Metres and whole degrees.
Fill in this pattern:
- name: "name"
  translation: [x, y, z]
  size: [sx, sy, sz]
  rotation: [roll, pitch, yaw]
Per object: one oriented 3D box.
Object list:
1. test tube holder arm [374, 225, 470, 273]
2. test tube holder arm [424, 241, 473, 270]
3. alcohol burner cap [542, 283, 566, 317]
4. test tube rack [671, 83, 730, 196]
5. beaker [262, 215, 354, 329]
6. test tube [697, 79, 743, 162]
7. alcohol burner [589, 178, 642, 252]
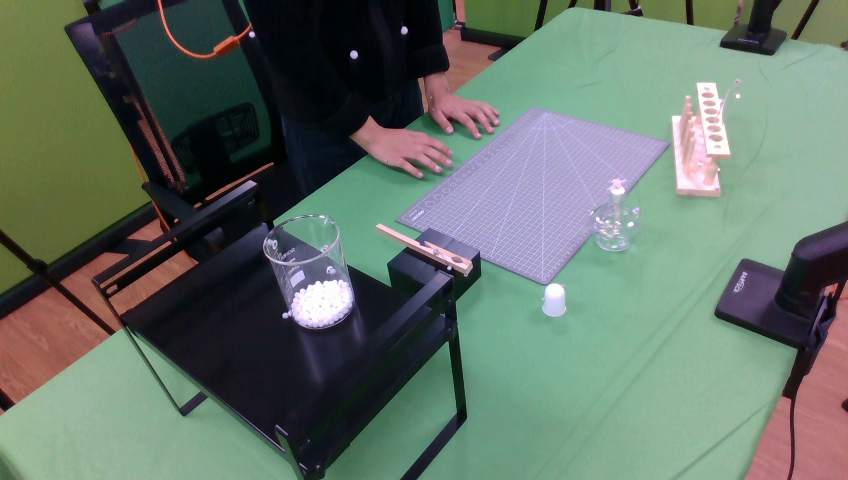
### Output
- name: "test tube holder arm"
  translation: [-0.006, 0.012, 0.893]
  size: [0.177, 0.015, 0.013]
  rotation: [22, 50, 32]
- name: "test tube holder arm"
  translation: [0.033, 0.022, 0.872]
  size: [0.087, 0.015, 0.010]
  rotation: [22, 50, 32]
- name: "alcohol burner cap"
  translation: [0.181, 0.081, 0.839]
  size: [0.034, 0.048, 0.033]
  rotation: [-4, 40, 4]
- name: "test tube rack"
  translation: [0.482, -0.184, 1.067]
  size: [0.066, 0.085, 0.242]
  rotation: [5, 42, 15]
- name: "beaker"
  translation: [-0.112, 0.034, 0.616]
  size: [0.073, 0.101, 0.084]
  rotation: [13, 44, 23]
- name: "test tube"
  translation: [0.486, -0.194, 0.998]
  size: [0.017, 0.150, 0.017]
  rotation: [5, 40, -4]
- name: "alcohol burner"
  translation: [0.290, -0.042, 0.910]
  size: [0.078, 0.119, 0.077]
  rotation: [-6, 40, 5]
